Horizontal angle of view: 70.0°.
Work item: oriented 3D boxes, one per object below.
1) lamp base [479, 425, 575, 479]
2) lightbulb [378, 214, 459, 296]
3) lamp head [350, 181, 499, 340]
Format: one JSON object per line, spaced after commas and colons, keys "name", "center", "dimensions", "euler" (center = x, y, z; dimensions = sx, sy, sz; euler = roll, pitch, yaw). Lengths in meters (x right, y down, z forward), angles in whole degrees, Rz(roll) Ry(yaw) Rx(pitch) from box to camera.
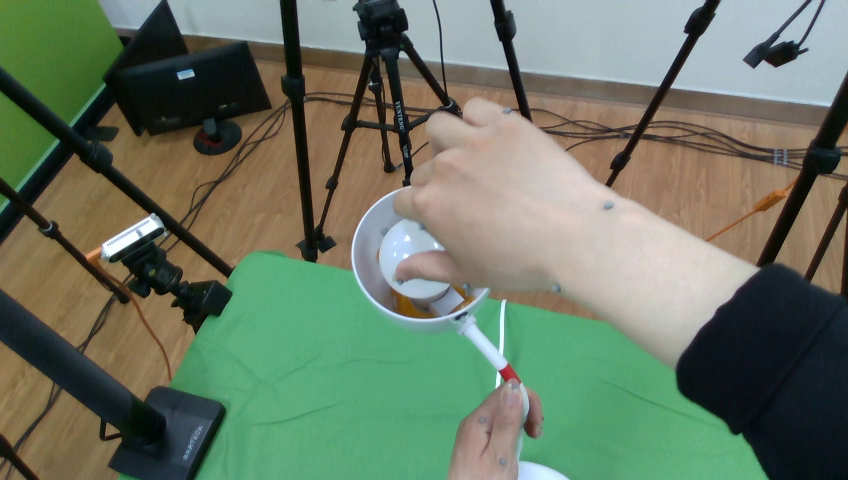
{"name": "lamp base", "center": [0.111, 0.282, 0.647], "dimensions": [0.161, 0.182, 0.177], "euler": [-23, 53, -10]}
{"name": "lightbulb", "center": [-0.002, 0.019, 0.467], "dimensions": [0.059, 0.108, 0.059], "euler": [-1, 72, 4]}
{"name": "lamp head", "center": [0.006, 0.030, 0.496], "dimensions": [0.112, 0.124, 0.111], "euler": [-3, 63, 5]}
